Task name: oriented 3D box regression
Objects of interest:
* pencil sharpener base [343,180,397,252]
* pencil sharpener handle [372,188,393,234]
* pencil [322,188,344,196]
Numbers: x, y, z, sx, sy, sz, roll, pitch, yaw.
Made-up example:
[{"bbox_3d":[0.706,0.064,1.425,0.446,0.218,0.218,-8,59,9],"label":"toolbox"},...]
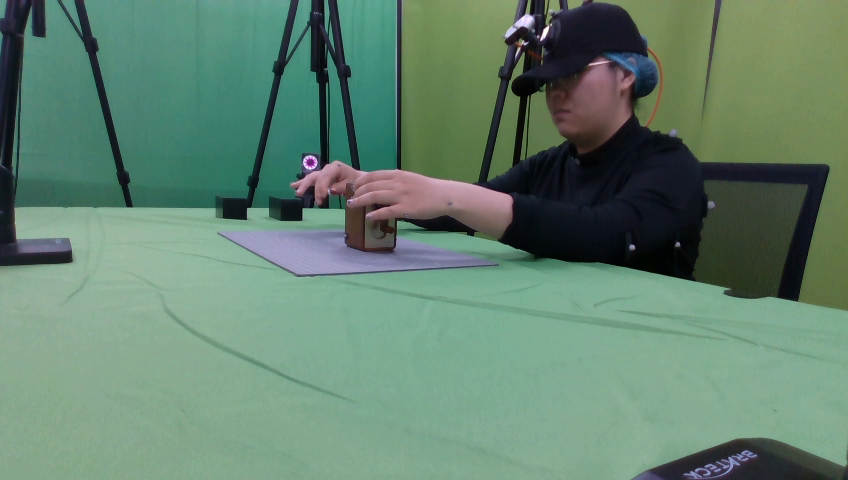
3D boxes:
[{"bbox_3d":[-0.085,-0.038,0.956,0.062,0.107,0.076,-2,9,-33],"label":"pencil sharpener base"},{"bbox_3d":[-0.056,-0.044,0.913,0.036,0.067,0.030,-4,10,-32],"label":"pencil sharpener handle"},{"bbox_3d":[-0.132,-0.077,1.031,0.012,0.012,0.193,-2,9,-33],"label":"pencil"}]
